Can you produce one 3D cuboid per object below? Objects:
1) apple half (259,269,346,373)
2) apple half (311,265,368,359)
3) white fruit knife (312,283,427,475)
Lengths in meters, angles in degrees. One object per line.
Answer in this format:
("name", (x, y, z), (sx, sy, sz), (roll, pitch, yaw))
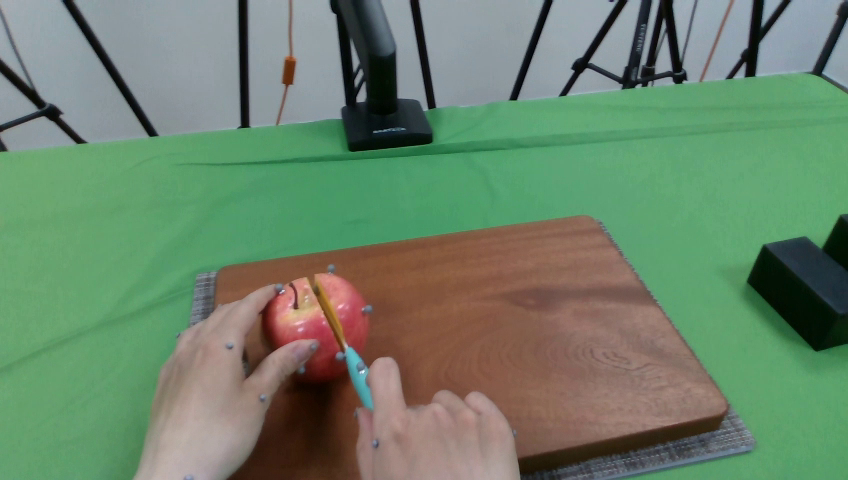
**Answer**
("apple half", (-0.101, 0.071, 0.482), (0.053, 0.075, 0.080), (-26, 48, -12))
("apple half", (-0.063, 0.055, 0.495), (0.033, 0.082, 0.080), (-22, 44, -18))
("white fruit knife", (-0.053, 0.086, 0.452), (0.016, 0.028, 0.205), (-21, 43, -22))
